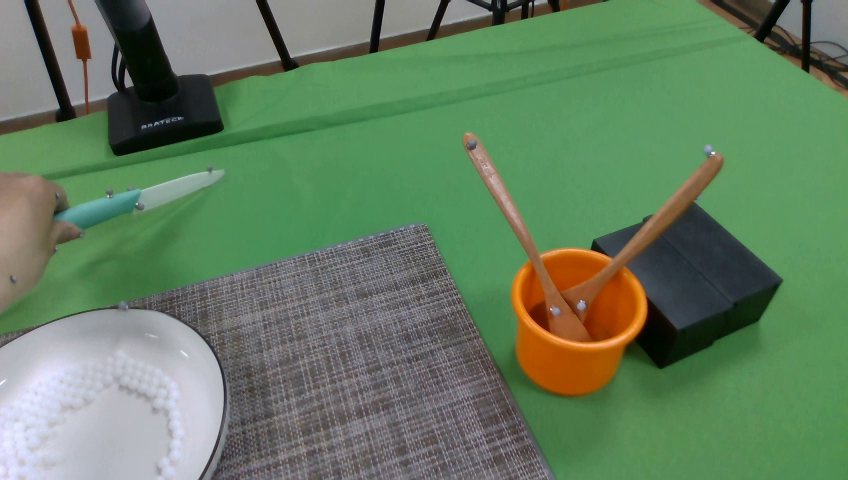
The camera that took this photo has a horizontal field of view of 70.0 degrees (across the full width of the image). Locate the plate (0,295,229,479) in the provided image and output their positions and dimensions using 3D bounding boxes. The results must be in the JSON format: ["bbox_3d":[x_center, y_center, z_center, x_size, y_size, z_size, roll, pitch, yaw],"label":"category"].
[{"bbox_3d":[-0.234,0.129,0.408,0.209,0.038,0.207,-1,47,1],"label":"plate"}]

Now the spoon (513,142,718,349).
[{"bbox_3d":[0.135,0.008,0.431,0.041,0.194,0.021,42,22,2],"label":"spoon"}]

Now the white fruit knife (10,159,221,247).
[{"bbox_3d":[-0.268,-0.044,0.553,0.016,0.027,0.207,24,34,25],"label":"white fruit knife"}]

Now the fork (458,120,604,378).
[{"bbox_3d":[0.076,0.007,0.439,0.028,0.018,0.208,-28,96,-8],"label":"fork"}]
